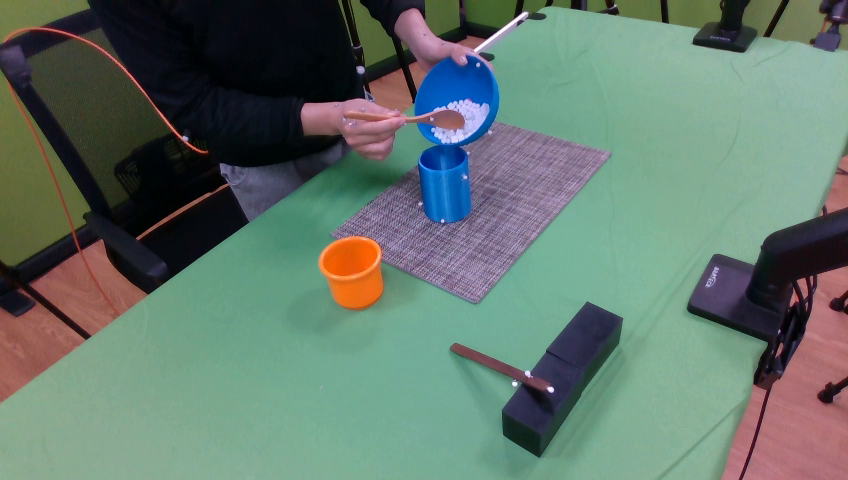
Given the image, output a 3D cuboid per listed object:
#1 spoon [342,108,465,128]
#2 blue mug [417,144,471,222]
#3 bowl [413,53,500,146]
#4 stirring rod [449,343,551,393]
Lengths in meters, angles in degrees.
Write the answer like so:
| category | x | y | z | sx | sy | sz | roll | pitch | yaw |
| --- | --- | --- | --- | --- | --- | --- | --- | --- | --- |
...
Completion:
| category | x | y | z | sx | sy | sz | roll | pitch | yaw |
| --- | --- | --- | --- | --- | --- | --- | --- | --- | --- |
| spoon | -0.028 | -0.188 | 0.926 | 0.195 | 0.041 | 0.021 | -4 | 60 | -22 |
| blue mug | 0.031 | -0.104 | 1.014 | 0.082 | 0.106 | 0.115 | -14 | 41 | -8 |
| bowl | 0.066 | -0.219 | 0.991 | 0.150 | 0.151 | 0.077 | 26 | 6 | 33 |
| stirring rod | 0.088 | 0.154 | 0.741 | 0.014 | 0.006 | 0.174 | -40 | 28 | -25 |
